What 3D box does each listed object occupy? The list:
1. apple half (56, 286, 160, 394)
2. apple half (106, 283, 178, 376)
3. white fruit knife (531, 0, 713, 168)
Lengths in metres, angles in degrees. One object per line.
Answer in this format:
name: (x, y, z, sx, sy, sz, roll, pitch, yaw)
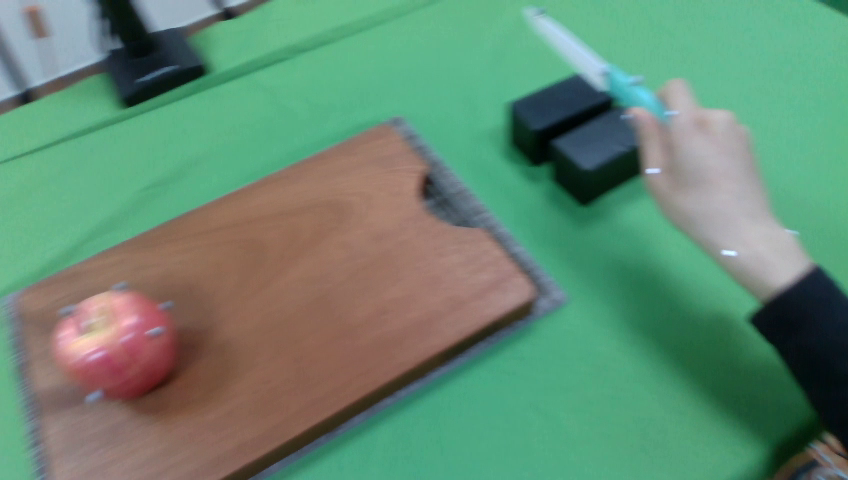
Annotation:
apple half: (-0.246, 0.084, 0.466, 0.053, 0.075, 0.080, -29, 59, -9)
apple half: (-0.211, 0.066, 0.474, 0.033, 0.082, 0.080, -27, 55, -11)
white fruit knife: (0.157, -0.138, 0.497, 0.016, 0.027, 0.206, -31, 70, -29)
